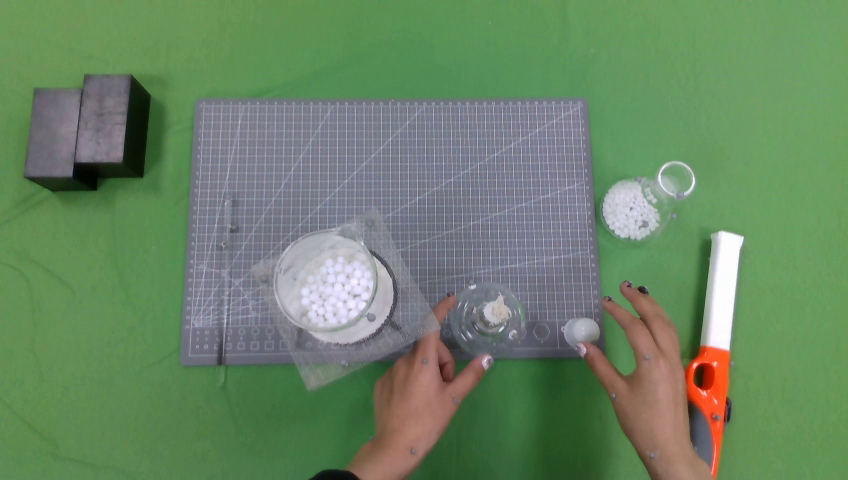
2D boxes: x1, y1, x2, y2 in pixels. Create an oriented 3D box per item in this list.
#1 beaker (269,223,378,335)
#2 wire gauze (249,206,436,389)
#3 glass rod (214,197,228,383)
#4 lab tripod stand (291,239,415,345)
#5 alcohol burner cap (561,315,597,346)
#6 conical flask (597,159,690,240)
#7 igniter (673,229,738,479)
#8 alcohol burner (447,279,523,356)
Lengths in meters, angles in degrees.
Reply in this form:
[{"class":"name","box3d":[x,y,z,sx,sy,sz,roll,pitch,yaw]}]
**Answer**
[{"class":"beaker","box3d":[-0.072,0.035,0.477,0.074,0.100,0.083,21,79,2]},{"class":"wire gauze","box3d":[-0.071,0.048,0.523,0.125,0.011,0.121,-26,83,-8]},{"class":"glass rod","box3d":[-0.216,0.052,0.648,0.008,0.008,0.199,0,82,-2]},{"class":"lab tripod stand","box3d":[-0.074,0.061,0.588,0.148,0.132,0.148,0,81,-1]},{"class":"alcohol burner cap","box3d":[0.165,0.094,0.636,0.034,0.048,0.033,0,79,-1]},{"class":"conical flask","box3d":[0.232,-0.047,0.628,0.075,0.122,0.075,0,78,-1]},{"class":"igniter","box3d":[0.302,0.123,0.645,0.057,0.025,0.275,14,79,-9]},{"class":"alcohol burner","box3d":[0.061,0.075,0.600,0.078,0.119,0.077,0,77,0]}]
